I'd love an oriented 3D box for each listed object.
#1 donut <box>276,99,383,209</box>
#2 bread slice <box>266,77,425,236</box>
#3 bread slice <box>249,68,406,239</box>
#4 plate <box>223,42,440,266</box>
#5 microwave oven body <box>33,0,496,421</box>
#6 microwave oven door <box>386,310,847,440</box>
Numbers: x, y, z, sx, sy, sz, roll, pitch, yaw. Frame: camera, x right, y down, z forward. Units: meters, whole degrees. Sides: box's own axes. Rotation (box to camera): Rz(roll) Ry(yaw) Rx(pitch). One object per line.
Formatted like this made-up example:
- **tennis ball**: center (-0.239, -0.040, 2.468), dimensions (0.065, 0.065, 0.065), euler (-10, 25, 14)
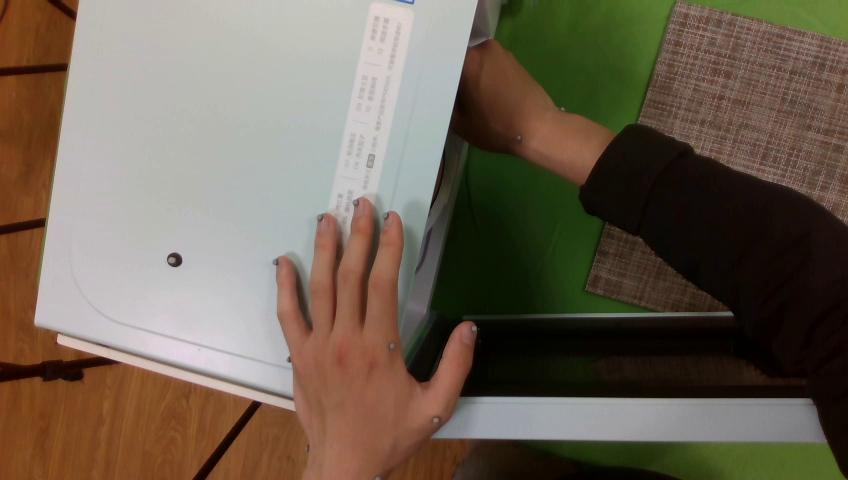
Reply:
- **donut**: center (-0.085, -0.078, 0.550), dimensions (0.099, 0.048, 0.099), euler (1, 99, 4)
- **bread slice**: center (-0.083, -0.084, 0.580), dimensions (0.107, 0.018, 0.135), euler (-41, 102, 2)
- **bread slice**: center (-0.093, -0.078, 0.524), dimensions (0.105, 0.019, 0.131), euler (-29, 95, 11)
- **plate**: center (-0.086, -0.079, 0.580), dimensions (0.207, 0.039, 0.208), euler (1, 97, 7)
- **microwave oven body**: center (-0.096, -0.128, 0.523), dimensions (0.325, 0.260, 0.442), euler (14, 99, 5)
- **microwave oven door**: center (0.165, 0.106, 0.512), dimensions (0.355, 0.244, 0.039), euler (-2, 95, 8)
